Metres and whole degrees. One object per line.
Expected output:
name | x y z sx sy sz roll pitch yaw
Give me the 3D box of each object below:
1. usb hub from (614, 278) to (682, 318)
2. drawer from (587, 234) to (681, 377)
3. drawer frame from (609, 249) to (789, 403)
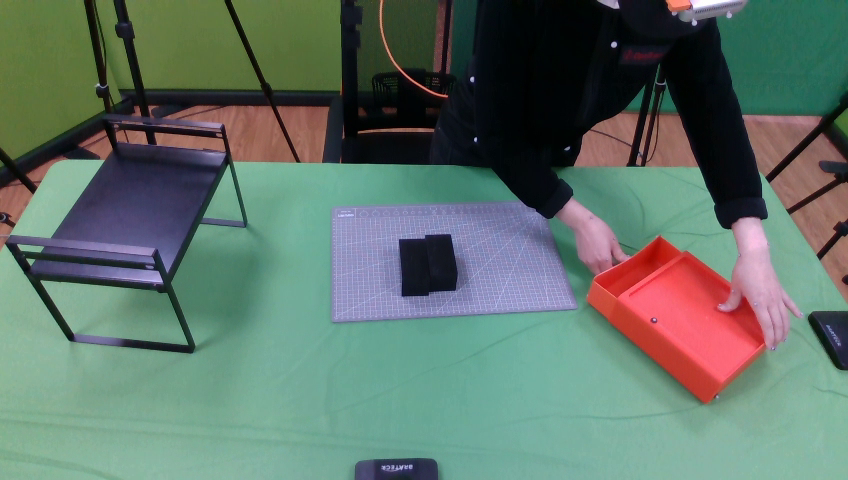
usb hub | 0.409 0.105 1.103 0.125 0.025 0.049 -15 36 -27
drawer | 0.437 0.112 1.086 0.194 0.073 0.210 -27 56 -28
drawer frame | 0.470 0.139 1.051 0.202 0.083 0.212 -28 55 -27
